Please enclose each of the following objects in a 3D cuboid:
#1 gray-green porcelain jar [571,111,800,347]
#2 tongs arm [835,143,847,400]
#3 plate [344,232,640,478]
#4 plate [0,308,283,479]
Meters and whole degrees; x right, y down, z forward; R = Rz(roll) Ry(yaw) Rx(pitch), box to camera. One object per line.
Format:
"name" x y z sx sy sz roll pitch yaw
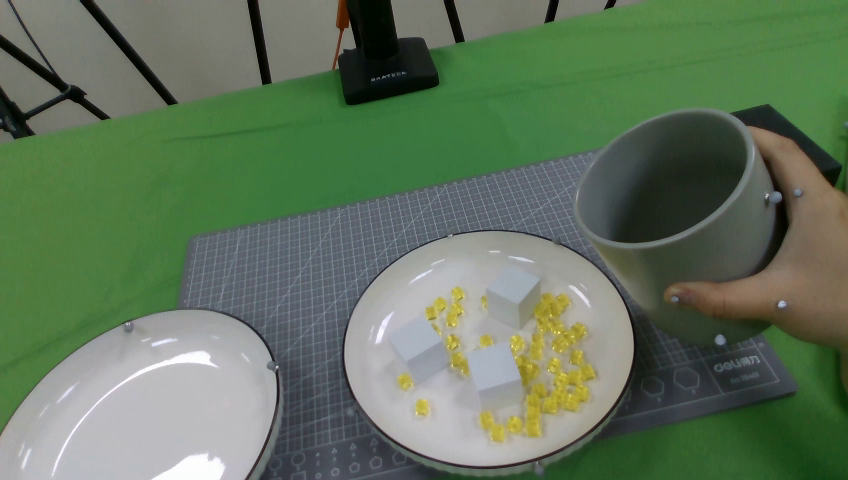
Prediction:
"gray-green porcelain jar" 0.170 0.000 0.384 0.106 0.128 0.105 -28 38 25
"tongs arm" 0.360 -0.024 0.498 0.028 0.028 0.385 16 50 21
"plate" 0.047 0.078 0.444 0.207 0.039 0.205 -5 44 6
"plate" -0.198 0.140 0.427 0.209 0.038 0.207 -6 44 7
